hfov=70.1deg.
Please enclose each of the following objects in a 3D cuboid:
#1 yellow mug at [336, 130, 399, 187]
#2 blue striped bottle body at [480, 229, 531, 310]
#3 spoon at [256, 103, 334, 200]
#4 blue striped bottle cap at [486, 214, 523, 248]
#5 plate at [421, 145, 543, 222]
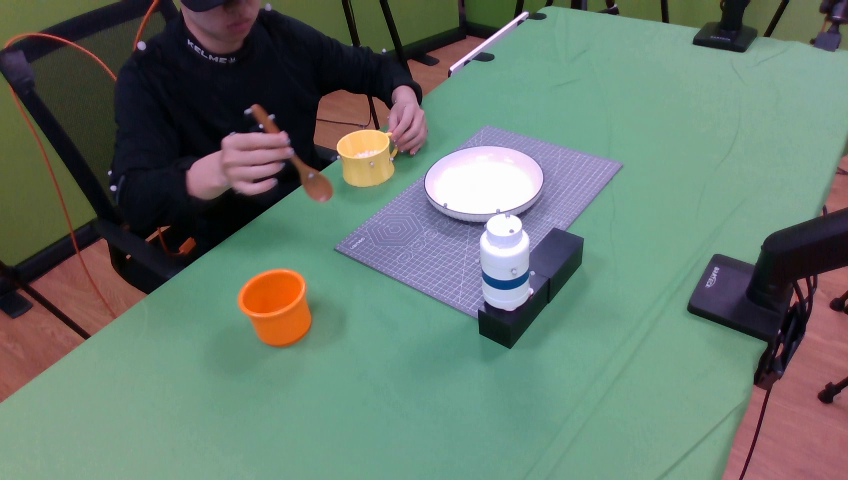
[{"bbox_3d":[-0.098,-0.161,1.138,0.131,0.064,0.099,-33,47,-28],"label":"yellow mug"},{"bbox_3d":[0.104,0.027,0.769,0.063,0.121,0.063,-4,40,4],"label":"blue striped bottle body"},{"bbox_3d":[-0.179,-0.121,0.851,0.041,0.195,0.021,-25,54,4],"label":"spoon"},{"bbox_3d":[0.098,-0.011,0.735,0.044,0.021,0.044,-3,38,3],"label":"blue striped bottle cap"},{"bbox_3d":[0.101,-0.094,1.048,0.207,0.039,0.206,-4,41,4],"label":"plate"}]
